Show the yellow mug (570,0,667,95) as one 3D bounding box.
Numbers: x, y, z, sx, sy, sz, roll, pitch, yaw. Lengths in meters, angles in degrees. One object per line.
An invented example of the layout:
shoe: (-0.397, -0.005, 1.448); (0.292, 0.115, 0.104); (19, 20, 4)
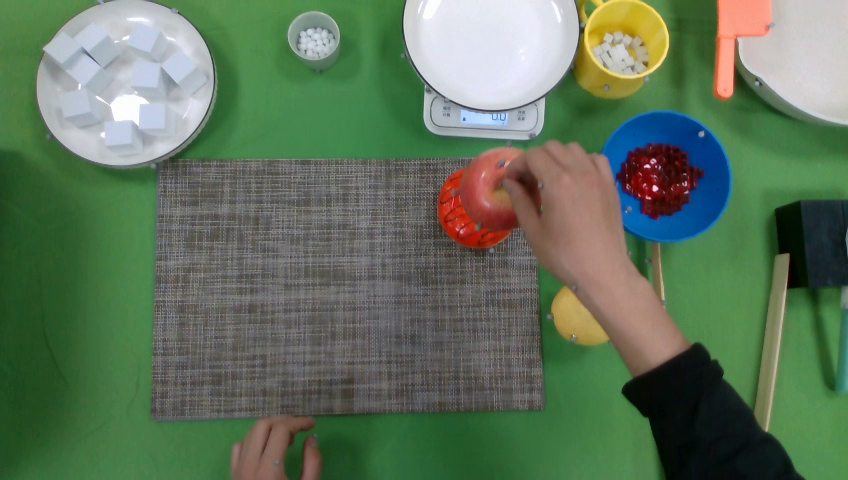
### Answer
yellow mug: (0.224, -0.248, 0.736); (0.100, 0.064, 0.130); (-34, 84, -5)

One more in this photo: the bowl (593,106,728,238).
bowl: (0.263, -0.072, 0.709); (0.151, 0.077, 0.151); (0, 83, -2)

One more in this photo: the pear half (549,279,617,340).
pear half: (0.175, 0.083, 0.671); (0.076, 0.110, 0.056); (31, 83, 6)

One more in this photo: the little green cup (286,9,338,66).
little green cup: (-0.133, -0.243, 0.736); (0.061, 0.039, 0.061); (0, 82, -2)

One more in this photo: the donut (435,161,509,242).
donut: (0.061, -0.045, 0.711); (0.099, 0.048, 0.099); (0, 83, 0)

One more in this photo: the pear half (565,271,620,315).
pear half: (0.195, 0.055, 0.685); (0.070, 0.088, 0.031); (29, 83, 5)

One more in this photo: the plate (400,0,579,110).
plate: (0.076, -0.250, 0.715); (0.209, 0.038, 0.208); (0, 83, -2)

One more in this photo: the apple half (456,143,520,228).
apple half: (0.058, -0.053, 0.580); (0.053, 0.074, 0.081); (5, 91, -6)

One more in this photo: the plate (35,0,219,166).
plate: (-0.346, -0.186, 0.721); (0.208, 0.039, 0.207); (0, 83, -2)

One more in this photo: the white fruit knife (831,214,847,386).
white fruit knife: (0.485, 0.072, 0.698); (0.016, 0.027, 0.208); (-3, 97, -2)

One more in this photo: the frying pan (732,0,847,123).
frying pan: (0.550, -0.189, 0.721); (0.307, 0.103, 0.485); (-28, 77, -4)

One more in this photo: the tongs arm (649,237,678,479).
tongs arm: (0.295, 0.187, 0.699); (0.051, 0.026, 0.383); (0, 84, -5)

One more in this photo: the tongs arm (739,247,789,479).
tongs arm: (0.381, 0.194, 0.703); (0.028, 0.028, 0.386); (15, 83, -6)

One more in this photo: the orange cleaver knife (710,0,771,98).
orange cleaver knife: (0.366, -0.268, 0.706); (0.077, 0.012, 0.210); (4, 83, 1)

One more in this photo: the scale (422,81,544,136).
scale: (0.075, -0.231, 0.746); (0.149, 0.031, 0.200); (3, 83, -1)

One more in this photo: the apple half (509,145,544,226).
apple half: (0.097, -0.051, 0.585); (0.033, 0.081, 0.081); (5, 82, -5)
